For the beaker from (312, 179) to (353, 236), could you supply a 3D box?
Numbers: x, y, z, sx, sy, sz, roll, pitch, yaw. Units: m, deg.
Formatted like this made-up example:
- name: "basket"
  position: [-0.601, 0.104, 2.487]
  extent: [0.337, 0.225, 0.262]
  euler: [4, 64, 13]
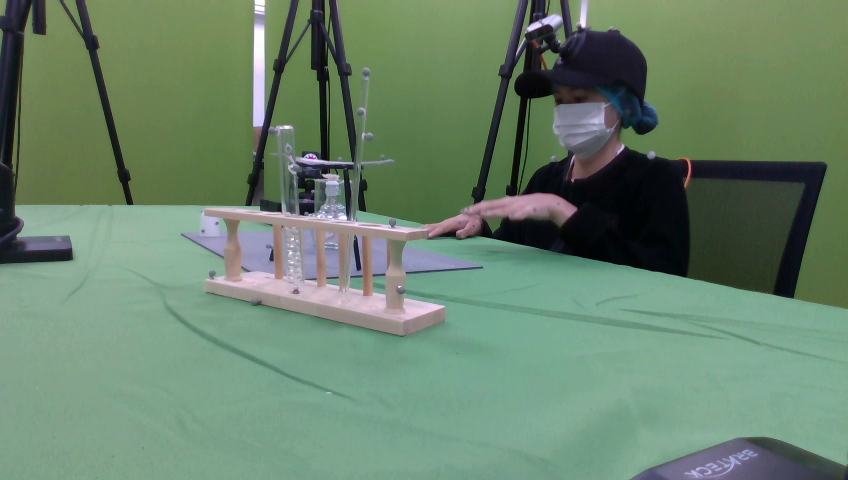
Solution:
- name: "beaker"
  position: [-0.167, -0.060, 1.103]
  extent: [0.074, 0.100, 0.084]
  euler: [1, 8, -11]

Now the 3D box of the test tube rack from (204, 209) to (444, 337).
- name: "test tube rack"
  position: [-0.100, 0.021, 0.565]
  extent: [0.241, 0.085, 0.067]
  euler: [7, 9, 32]

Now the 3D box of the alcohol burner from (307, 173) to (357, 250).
- name: "alcohol burner"
  position: [-0.144, -0.045, 0.940]
  extent: [0.078, 0.119, 0.078]
  euler: [1, 8, 0]

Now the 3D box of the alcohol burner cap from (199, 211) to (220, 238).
- name: "alcohol burner cap"
  position: [-0.356, -0.027, 1.002]
  extent: [0.034, 0.048, 0.034]
  euler: [2, 7, 0]

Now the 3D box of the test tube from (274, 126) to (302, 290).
- name: "test tube"
  position: [-0.123, -0.028, 0.552]
  extent: [0.017, 0.150, 0.017]
  euler: [-2, 7, 1]

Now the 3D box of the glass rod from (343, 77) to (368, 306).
- name: "glass rod"
  position: [-0.059, -0.038, 0.518]
  extent: [0.008, 0.199, 0.008]
  euler: [6, 8, 0]

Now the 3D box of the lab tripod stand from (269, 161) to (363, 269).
- name: "lab tripod stand"
  position: [-0.125, -0.036, 0.794]
  extent: [0.148, 0.131, 0.148]
  euler: [5, 7, 0]

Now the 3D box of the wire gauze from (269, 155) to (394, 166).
- name: "wire gauze"
  position: [-0.121, -0.102, 0.785]
  extent: [0.122, 0.011, 0.124]
  euler: [-3, 10, -39]
